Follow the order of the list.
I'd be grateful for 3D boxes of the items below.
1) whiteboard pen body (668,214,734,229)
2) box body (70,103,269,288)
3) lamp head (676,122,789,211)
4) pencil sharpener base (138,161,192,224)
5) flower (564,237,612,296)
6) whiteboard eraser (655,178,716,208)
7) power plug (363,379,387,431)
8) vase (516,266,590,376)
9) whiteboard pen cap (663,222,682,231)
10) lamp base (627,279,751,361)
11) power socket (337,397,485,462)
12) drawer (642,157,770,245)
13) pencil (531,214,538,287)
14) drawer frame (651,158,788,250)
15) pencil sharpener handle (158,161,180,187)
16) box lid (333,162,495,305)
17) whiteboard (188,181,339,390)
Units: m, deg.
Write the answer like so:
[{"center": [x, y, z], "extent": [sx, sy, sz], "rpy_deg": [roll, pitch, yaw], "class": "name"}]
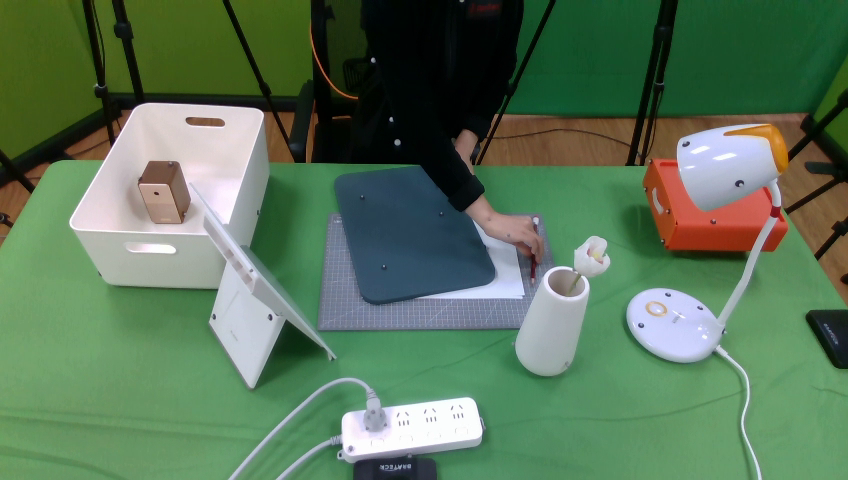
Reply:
[{"center": [0.547, -0.035, 1.200], "extent": [0.141, 0.017, 0.017], "rpy_deg": [-8, 48, -9], "class": "whiteboard pen body"}, {"center": [-0.450, -0.087, 1.148], "extent": [0.254, 0.161, 0.361], "rpy_deg": [2, 46, -2], "class": "box body"}, {"center": [0.423, -0.104, 0.819], "extent": [0.122, 0.113, 0.112], "rpy_deg": [-13, 33, 40], "class": "lamp head"}, {"center": [-0.502, -0.094, 1.181], "extent": [0.061, 0.107, 0.076], "rpy_deg": [0, 45, -2], "class": "pencil sharpener base"}, {"center": [0.206, 0.088, 0.893], "extent": [0.038, 0.363, 0.044], "rpy_deg": [-16, 67, -9], "class": "flower"}, {"center": [0.538, -0.095, 1.251], "extent": [0.113, 0.042, 0.055], "rpy_deg": [4, 52, -10], "class": "whiteboard eraser"}, {"center": [-0.072, 0.252, 0.910], "extent": [0.035, 0.053, 0.072], "rpy_deg": [3, 45, -1], "class": "power plug"}, {"center": [0.208, 0.132, 0.964], "extent": [0.098, 0.201, 0.097], "rpy_deg": [3, 46, -3], "class": "vase"}, {"center": [0.487, -0.027, 1.188], "extent": [0.033, 0.018, 0.018], "rpy_deg": [0, 46, -15], "class": "whiteboard pen cap"}, {"center": [0.459, 0.100, 1.027], "extent": [0.178, 0.181, 0.160], "rpy_deg": [27, 51, 17], "class": "lamp base"}, {"center": [-0.018, 0.285, 0.915], "extent": [0.227, 0.033, 0.071], "rpy_deg": [-5, 46, -8], "class": "power socket"}, {"center": [0.564, -0.075, 1.210], "extent": [0.212, 0.073, 0.193], "rpy_deg": [3, 45, -1], "class": "drawer"}, {"center": [0.219, 0.019, 1.203], "extent": [0.012, 0.012, 0.193], "rpy_deg": [8, 49, 4], "class": "pencil"}, {"center": [0.571, -0.074, 1.213], "extent": [0.214, 0.083, 0.200], "rpy_deg": [1, 46, 0], "class": "drawer frame"}, {"center": [-0.503, -0.138, 1.208], "extent": [0.036, 0.068, 0.030], "rpy_deg": [2, 45, -4], "class": "pencil sharpener handle"}, {"center": [-0.031, -0.028, 1.228], "extent": [0.264, 0.015, 0.369], "rpy_deg": [-9, 47, -13], "class": "box lid"}, {"center": [-0.292, 0.096, 0.929], "extent": [0.144, 0.307, 0.216], "rpy_deg": [-38, 57, -11], "class": "whiteboard"}]
